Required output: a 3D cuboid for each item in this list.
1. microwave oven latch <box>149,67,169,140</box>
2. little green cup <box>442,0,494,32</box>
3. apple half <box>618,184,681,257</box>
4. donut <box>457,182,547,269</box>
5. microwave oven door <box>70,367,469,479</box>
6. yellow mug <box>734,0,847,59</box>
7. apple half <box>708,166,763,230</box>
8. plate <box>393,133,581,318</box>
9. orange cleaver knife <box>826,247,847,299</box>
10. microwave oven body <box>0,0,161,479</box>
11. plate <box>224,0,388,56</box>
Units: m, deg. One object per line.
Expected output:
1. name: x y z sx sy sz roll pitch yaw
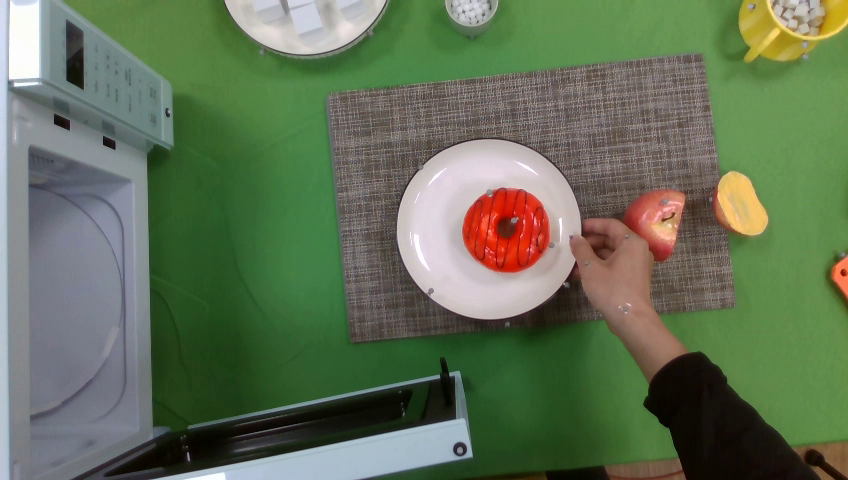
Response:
1. microwave oven latch: -0.313 -0.157 0.701 0.030 0.029 0.079 -1 87 1
2. little green cup: 0.052 -0.278 0.716 0.061 0.039 0.061 0 86 2
3. apple half: 0.245 -0.024 0.674 0.053 0.075 0.081 13 90 7
4. donut: 0.086 -0.016 0.671 0.099 0.048 0.098 0 83 3
5. microwave oven door: -0.135 0.189 0.576 0.356 0.244 0.039 -12 85 1
6. yellow mug: 0.409 -0.258 0.690 0.100 0.064 0.131 42 90 3
7. apple half: 0.345 -0.042 0.689 0.082 0.033 0.080 10 67 -25
8. plate: 0.069 -0.017 0.683 0.209 0.038 0.208 -1 82 4
9. orange cleaver knife: 0.528 0.098 0.689 0.077 0.012 0.211 -21 85 -4
10. microwave oven body: -0.456 0.020 0.599 0.326 0.260 0.441 -3 87 1
11. plate: -0.138 -0.319 0.724 0.207 0.039 0.207 0 87 2
